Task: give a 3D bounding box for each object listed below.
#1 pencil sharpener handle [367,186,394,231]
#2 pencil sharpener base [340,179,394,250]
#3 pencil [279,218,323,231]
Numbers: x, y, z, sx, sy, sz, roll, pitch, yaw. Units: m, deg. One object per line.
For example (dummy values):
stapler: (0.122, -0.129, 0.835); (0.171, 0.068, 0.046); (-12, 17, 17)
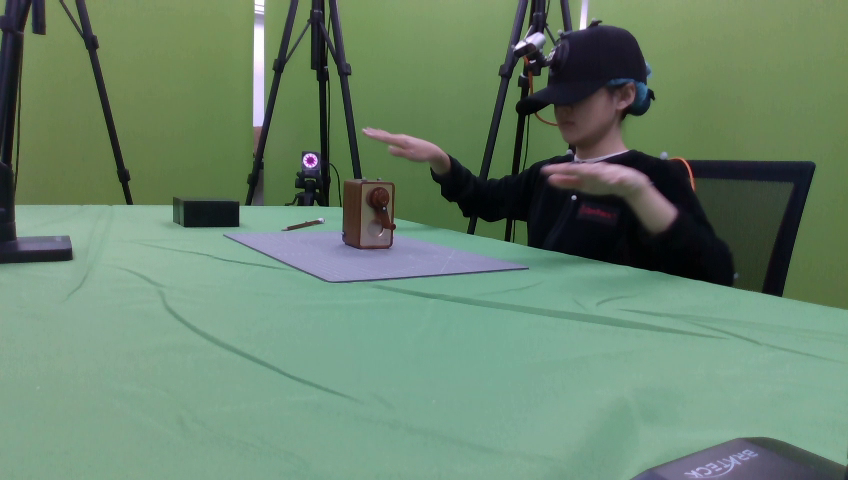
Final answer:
pencil sharpener handle: (-0.061, -0.047, 0.916); (0.036, 0.068, 0.030); (-19, 17, -26)
pencil sharpener base: (-0.091, -0.041, 0.959); (0.061, 0.107, 0.076); (-1, 9, -30)
pencil: (-0.246, -0.031, 1.222); (0.012, 0.012, 0.194); (5, 9, 14)
